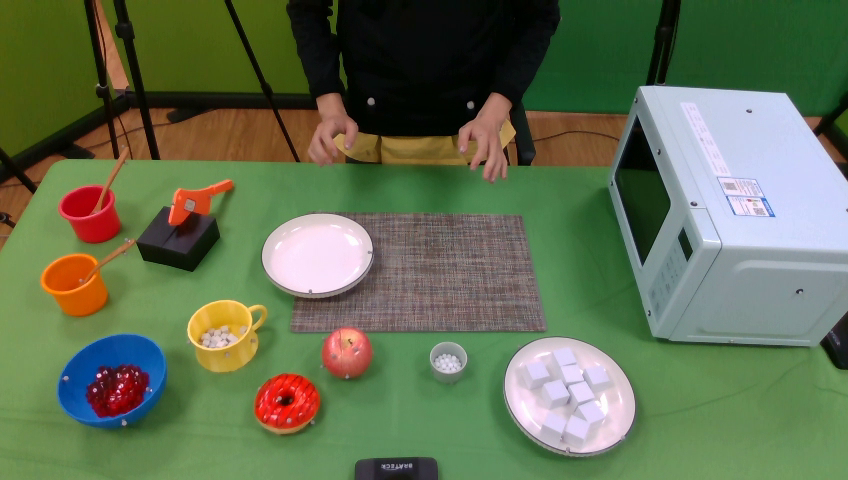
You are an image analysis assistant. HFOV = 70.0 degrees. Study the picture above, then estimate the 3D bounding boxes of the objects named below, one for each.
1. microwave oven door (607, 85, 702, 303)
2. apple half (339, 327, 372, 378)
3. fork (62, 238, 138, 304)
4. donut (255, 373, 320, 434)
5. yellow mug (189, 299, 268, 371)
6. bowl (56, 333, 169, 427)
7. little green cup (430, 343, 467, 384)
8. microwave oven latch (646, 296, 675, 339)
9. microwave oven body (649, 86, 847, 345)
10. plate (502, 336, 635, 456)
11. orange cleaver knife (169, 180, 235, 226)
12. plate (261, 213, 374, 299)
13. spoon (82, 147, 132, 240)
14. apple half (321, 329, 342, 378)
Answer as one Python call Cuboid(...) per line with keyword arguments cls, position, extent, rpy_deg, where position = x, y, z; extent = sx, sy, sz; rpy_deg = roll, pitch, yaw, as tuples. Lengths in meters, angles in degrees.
Cuboid(cls="microwave oven door", position=(0.423, -0.094, 1.140), extent=(0.039, 0.245, 0.353), rpy_deg=(2, 46, -1))
Cuboid(cls="apple half", position=(-0.111, 0.183, 0.980), extent=(0.053, 0.075, 0.080), rpy_deg=(-2, 42, -12))
Cuboid(cls="fork", position=(-0.547, 0.053, 1.018), extent=(0.207, 0.019, 0.028), rpy_deg=(-36, 41, 23))
Cuboid(cls="donut", position=(-0.209, 0.249, 0.928), extent=(0.099, 0.048, 0.098), rpy_deg=(4, 43, -3))
Cuboid(cls="yellow mug", position=(-0.316, 0.148, 1.002), extent=(0.131, 0.064, 0.099), rpy_deg=(-33, 56, -31))
Cuboid(cls="bowl", position=(-0.456, 0.223, 0.911), extent=(0.151, 0.077, 0.150), rpy_deg=(3, 45, -2))
Cuboid(cls="little green cup", position=(0.039, 0.203, 0.993), extent=(0.061, 0.039, 0.061), rpy_deg=(2, 46, -2))
Cuboid(cls="microwave oven latch", position=(0.412, 0.134, 1.061), extent=(0.030, 0.029, 0.078), rpy_deg=(4, 45, 1))
Cuboid(cls="microwave oven body", position=(0.567, -0.053, 1.118), extent=(0.326, 0.261, 0.439), rpy_deg=(2, 45, -1))
Cuboid(cls="plate", position=(0.225, 0.248, 0.963), extent=(0.208, 0.039, 0.206), rpy_deg=(2, 46, -2))
Cuboid(cls="orange cleaver knife", position=(-0.436, -0.076, 1.199), extent=(0.012, 0.077, 0.211), rpy_deg=(17, 17, 9))
Cuboid(cls="plate", position=(-0.198, 0.032, 1.137), extent=(0.209, 0.038, 0.208), rpy_deg=(2, 46, -2))
Cuboid(cls="spoon", position=(-0.602, -0.089, 1.156), extent=(0.041, 0.022, 0.193), rpy_deg=(27, 95, 19))
Cuboid(cls="apple half", position=(-0.149, 0.186, 0.972), extent=(0.033, 0.081, 0.080), rpy_deg=(-2, 46, -12))
